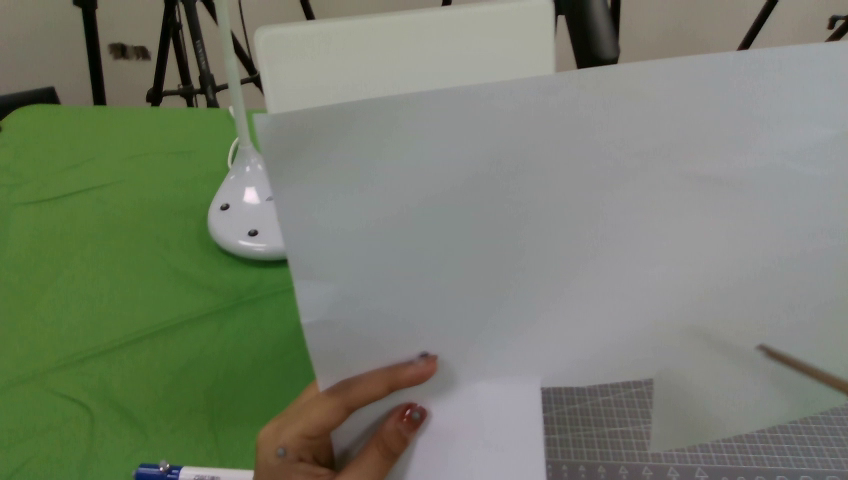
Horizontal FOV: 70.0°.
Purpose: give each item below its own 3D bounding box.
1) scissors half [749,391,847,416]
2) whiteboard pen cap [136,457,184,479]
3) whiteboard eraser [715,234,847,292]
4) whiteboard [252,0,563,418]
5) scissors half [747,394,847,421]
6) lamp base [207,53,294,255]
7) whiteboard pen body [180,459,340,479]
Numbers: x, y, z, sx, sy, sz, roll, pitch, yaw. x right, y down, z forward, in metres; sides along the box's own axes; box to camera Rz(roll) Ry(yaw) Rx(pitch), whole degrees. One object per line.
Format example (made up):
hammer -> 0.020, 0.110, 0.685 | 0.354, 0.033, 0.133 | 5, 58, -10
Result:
scissors half -> 0.221, 0.084, 0.257 | 0.175, 0.040, 0.013 | 13, 80, -5
whiteboard pen cap -> -0.191, 0.168, 0.445 | 0.033, 0.018, 0.018 | 3, 39, -1
whiteboard eraser -> 0.363, 0.024, 0.619 | 0.113, 0.042, 0.055 | -4, 40, -5
whiteboard -> -0.011, -0.038, 0.531 | 0.218, 0.307, 0.142 | -12, 21, -13
scissors half -> 0.219, 0.081, 0.237 | 0.175, 0.013, 0.040 | 10, -5, 12
lamp base -> -0.176, -0.101, 0.660 | 0.177, 0.182, 0.160 | 30, 47, 35
whiteboard pen body -> -0.132, 0.172, 0.444 | 0.141, 0.017, 0.017 | 4, 39, 1
